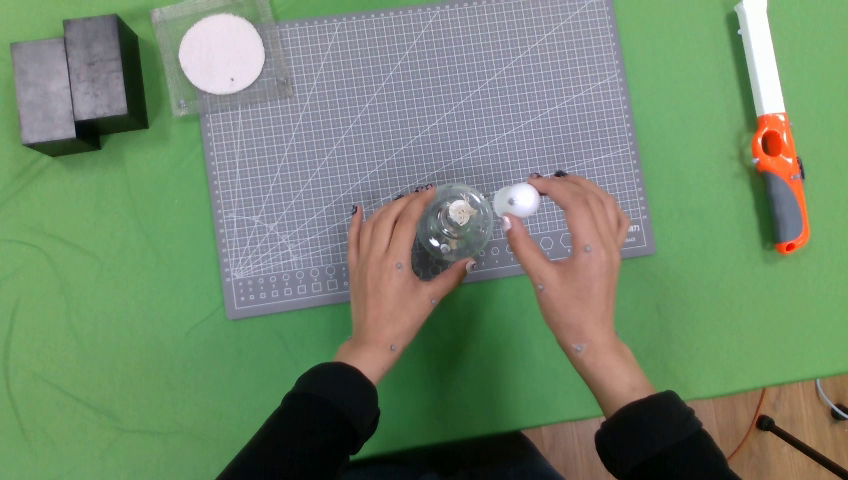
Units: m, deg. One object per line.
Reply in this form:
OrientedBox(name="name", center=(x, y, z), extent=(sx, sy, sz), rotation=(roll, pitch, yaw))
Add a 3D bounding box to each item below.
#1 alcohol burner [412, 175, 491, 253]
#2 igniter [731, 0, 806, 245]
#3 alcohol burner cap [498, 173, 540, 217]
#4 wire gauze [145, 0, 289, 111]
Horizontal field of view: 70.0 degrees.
OrientedBox(name="alcohol burner", center=(0.028, -0.027, 0.577), extent=(0.078, 0.119, 0.077), rotation=(0, 84, -4))
OrientedBox(name="igniter", center=(0.370, -0.133, 0.651), extent=(0.057, 0.025, 0.276), rotation=(-7, 87, -15))
OrientedBox(name="alcohol burner cap", center=(0.080, -0.038, 0.497), extent=(0.034, 0.048, 0.034), rotation=(0, 85, 1))
OrientedBox(name="wire gauze", center=(-0.214, -0.201, 0.625), extent=(0.125, 0.011, 0.121), rotation=(-14, 86, -4))
